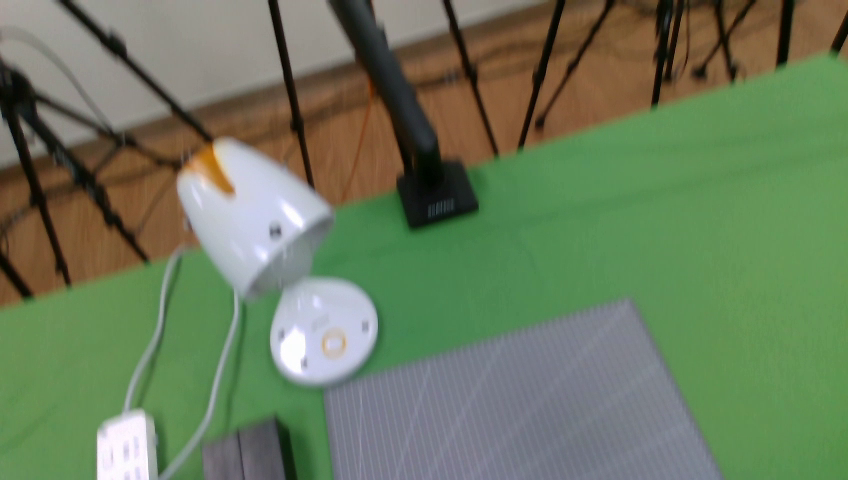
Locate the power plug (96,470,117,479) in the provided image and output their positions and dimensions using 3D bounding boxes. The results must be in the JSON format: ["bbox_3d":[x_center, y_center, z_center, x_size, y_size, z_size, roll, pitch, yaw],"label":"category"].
[{"bbox_3d":[-0.379,0.320,0.765,0.035,0.053,0.072,-26,45,-26],"label":"power plug"}]

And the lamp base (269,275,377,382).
[{"bbox_3d":[-0.169,0.083,0.833,0.160,0.182,0.177,-40,54,-18],"label":"lamp base"}]

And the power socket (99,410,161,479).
[{"bbox_3d":[-0.383,0.326,0.789,0.072,0.033,0.224,-20,52,-5],"label":"power socket"}]

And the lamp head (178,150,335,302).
[{"bbox_3d":[-0.160,-0.021,0.556,0.122,0.113,0.112,44,70,8],"label":"lamp head"}]
